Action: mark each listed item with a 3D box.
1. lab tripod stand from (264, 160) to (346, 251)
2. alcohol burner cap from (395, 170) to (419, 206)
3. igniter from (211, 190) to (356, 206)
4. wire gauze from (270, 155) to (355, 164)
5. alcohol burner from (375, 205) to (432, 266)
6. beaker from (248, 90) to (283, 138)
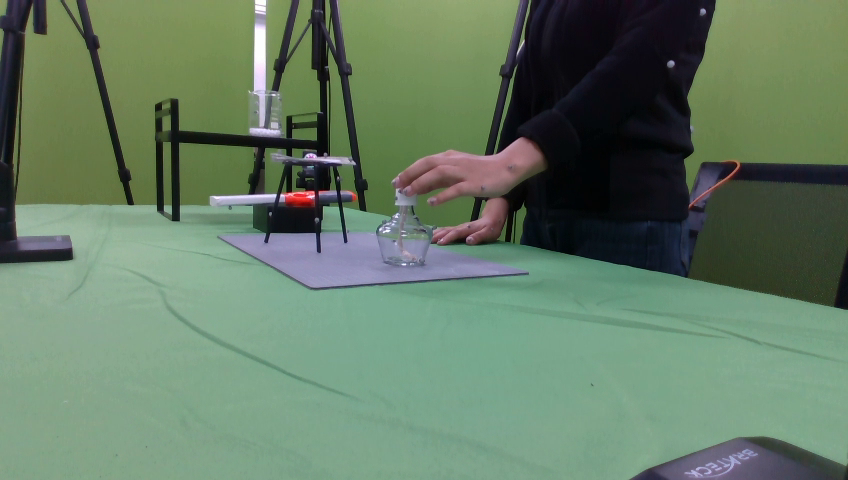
[{"bbox_3d":[-0.178,-0.056,0.930,0.148,0.131,0.148,1,9,0],"label":"lab tripod stand"},{"bbox_3d":[-0.025,-0.069,0.806,0.034,0.048,0.034,-5,8,1],"label":"alcohol burner cap"},{"bbox_3d":[-0.260,-0.080,1.152,0.278,0.025,0.057,-5,13,-34],"label":"igniter"},{"bbox_3d":[-0.174,-0.123,0.925,0.125,0.011,0.121,0,8,-12],"label":"wire gauze"},{"bbox_3d":[-0.027,-0.025,0.815,0.078,0.119,0.078,4,7,0],"label":"alcohol burner"},{"bbox_3d":[-0.354,-0.278,1.340,0.074,0.100,0.084,6,9,26],"label":"beaker"}]
